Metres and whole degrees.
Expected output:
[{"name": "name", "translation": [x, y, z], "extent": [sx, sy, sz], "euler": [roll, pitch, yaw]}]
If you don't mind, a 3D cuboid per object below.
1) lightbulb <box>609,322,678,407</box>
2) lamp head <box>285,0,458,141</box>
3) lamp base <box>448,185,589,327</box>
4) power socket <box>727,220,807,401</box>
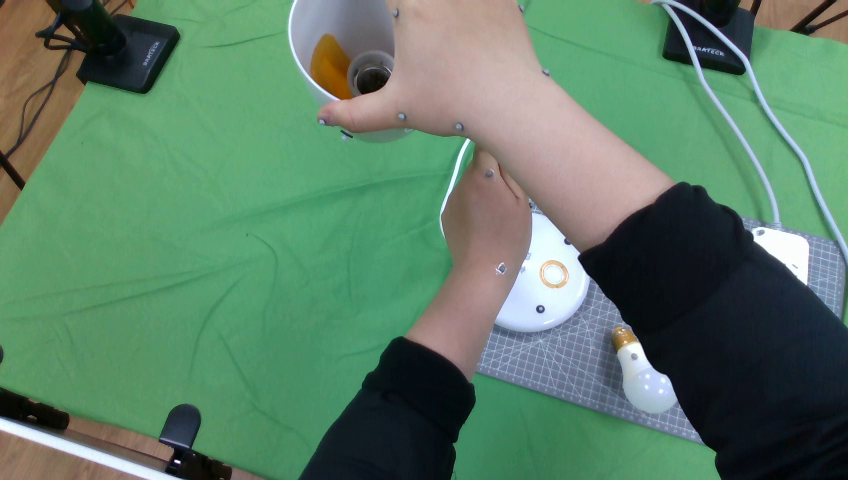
[{"name": "lightbulb", "translation": [0.247, 0.140, 0.699], "extent": [0.059, 0.060, 0.106], "euler": [-20, 53, -5]}, {"name": "lamp head", "translation": [-0.032, -0.121, 0.439], "extent": [0.112, 0.123, 0.112], "euler": [0, 76, 1]}, {"name": "lamp base", "translation": [0.109, 0.000, 0.689], "extent": [0.179, 0.181, 0.159], "euler": [10, 68, 9]}, {"name": "power socket", "translation": [0.412, 0.078, 0.726], "extent": [0.072, 0.033, 0.225], "euler": [15, 69, 7]}]
